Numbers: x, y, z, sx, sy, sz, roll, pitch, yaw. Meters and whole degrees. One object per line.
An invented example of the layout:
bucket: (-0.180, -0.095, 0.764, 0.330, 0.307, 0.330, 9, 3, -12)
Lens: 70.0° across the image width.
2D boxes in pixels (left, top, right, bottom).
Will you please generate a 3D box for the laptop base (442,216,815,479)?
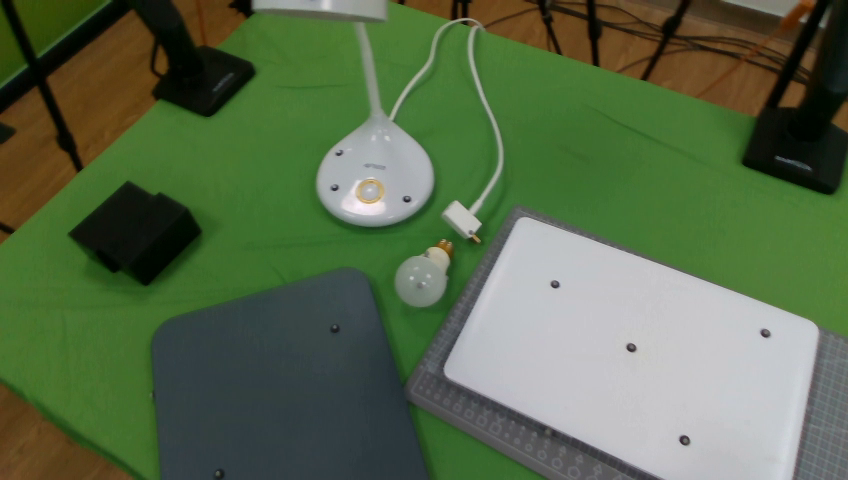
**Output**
laptop base: (0.225, 0.121, 0.670, 0.352, 0.023, 0.234, 22, 63, 16)

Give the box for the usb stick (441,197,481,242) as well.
usb stick: (0.051, -0.024, 0.761, 0.059, 0.021, 0.027, 47, 71, -8)

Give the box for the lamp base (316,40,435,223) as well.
lamp base: (-0.069, -0.143, 0.762, 0.160, 0.182, 0.177, -1, 54, 2)

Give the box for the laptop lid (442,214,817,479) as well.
laptop lid: (0.223, 0.116, 0.659, 0.355, 0.013, 0.240, 23, 63, 17)

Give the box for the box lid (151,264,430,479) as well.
box lid: (-0.146, 0.203, 0.639, 0.263, 0.015, 0.367, -16, 58, -7)

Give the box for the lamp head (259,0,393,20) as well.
lamp head: (-0.077, -0.245, 0.496, 0.112, 0.112, 0.123, 4, 102, 0)

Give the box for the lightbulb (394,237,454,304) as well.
lightbulb: (0.006, 0.031, 0.723, 0.059, 0.060, 0.107, 22, 45, 17)
